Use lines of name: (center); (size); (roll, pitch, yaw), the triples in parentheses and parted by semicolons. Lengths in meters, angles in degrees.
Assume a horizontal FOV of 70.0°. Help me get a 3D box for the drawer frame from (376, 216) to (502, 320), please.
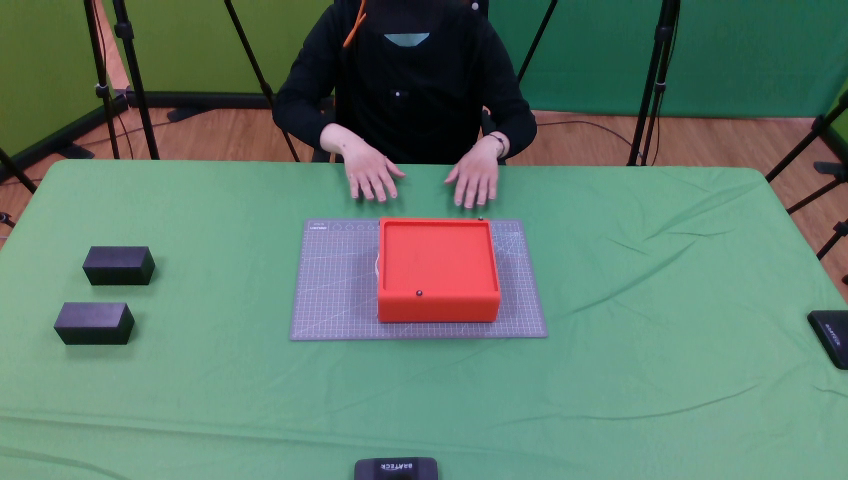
drawer frame: (0.021, 0.049, 1.102); (0.214, 0.083, 0.200); (1, 46, -4)

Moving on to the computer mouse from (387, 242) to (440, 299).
computer mouse: (-0.018, 0.053, 1.113); (0.062, 0.041, 0.117); (26, 58, 9)

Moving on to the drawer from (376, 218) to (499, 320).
drawer: (0.019, 0.050, 1.102); (0.212, 0.073, 0.193); (1, 46, -3)
